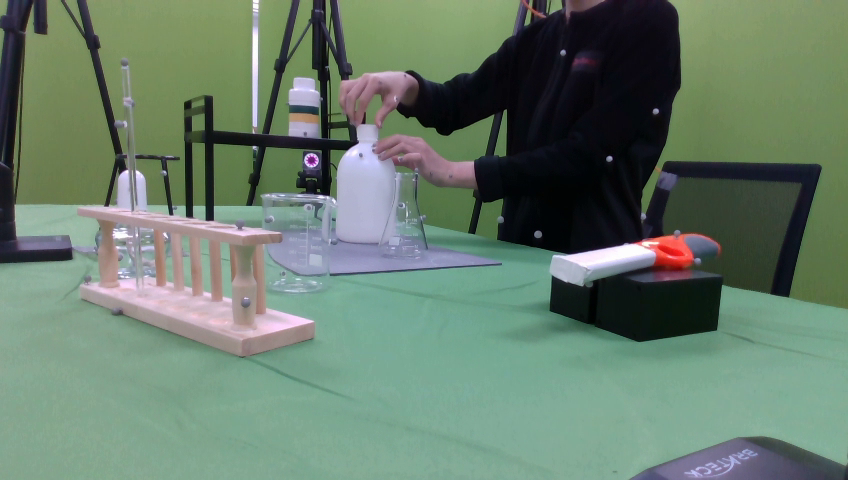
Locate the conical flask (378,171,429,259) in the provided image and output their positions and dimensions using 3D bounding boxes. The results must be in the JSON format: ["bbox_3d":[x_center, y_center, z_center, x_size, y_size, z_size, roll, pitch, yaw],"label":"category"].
[{"bbox_3d":[-0.027,-0.037,0.869,0.075,0.122,0.075,3,7,0],"label":"conical flask"}]

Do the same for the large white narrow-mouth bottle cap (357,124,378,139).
[{"bbox_3d":[-0.094,-0.179,1.002,0.038,0.024,0.037,2,9,0],"label":"large white narrow-mouth bottle cap"}]

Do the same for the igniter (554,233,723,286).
[{"bbox_3d":[0.214,0.015,0.570,0.278,0.025,0.057,-5,22,-44],"label":"igniter"}]

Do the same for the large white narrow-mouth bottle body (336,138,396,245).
[{"bbox_3d":[-0.097,-0.094,1.017,0.102,0.194,0.101,2,9,0],"label":"large white narrow-mouth bottle body"}]

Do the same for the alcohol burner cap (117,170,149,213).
[{"bbox_3d":[-0.320,-0.052,0.661,0.034,0.048,0.034,-3,0,0],"label":"alcohol burner cap"}]

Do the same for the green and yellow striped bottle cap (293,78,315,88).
[{"bbox_3d":[-0.248,-0.323,1.256,0.045,0.020,0.045,4,8,0],"label":"green and yellow striped bottle cap"}]

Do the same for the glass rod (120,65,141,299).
[{"bbox_3d":[-0.249,-0.047,0.513,0.008,0.199,0.008,-1,4,0],"label":"glass rod"}]

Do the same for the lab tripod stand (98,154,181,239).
[{"bbox_3d":[-0.427,-0.066,0.942,0.148,0.131,0.148,1,6,0],"label":"lab tripod stand"}]

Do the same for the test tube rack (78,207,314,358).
[{"bbox_3d":[-0.197,0.024,0.500,0.241,0.085,0.067,8,8,37],"label":"test tube rack"}]

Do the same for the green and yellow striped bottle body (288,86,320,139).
[{"bbox_3d":[-0.250,-0.272,1.261,0.063,0.119,0.063,3,7,0],"label":"green and yellow striped bottle body"}]

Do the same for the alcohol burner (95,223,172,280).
[{"bbox_3d":[-0.320,-0.016,0.667,0.078,0.119,0.078,0,7,0],"label":"alcohol burner"}]

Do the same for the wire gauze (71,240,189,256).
[{"bbox_3d":[-0.399,0.013,0.820,0.126,0.011,0.121,-3,8,-37],"label":"wire gauze"}]

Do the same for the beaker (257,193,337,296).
[{"bbox_3d":[-0.130,0.004,0.628,0.084,0.100,0.074,5,8,15],"label":"beaker"}]
